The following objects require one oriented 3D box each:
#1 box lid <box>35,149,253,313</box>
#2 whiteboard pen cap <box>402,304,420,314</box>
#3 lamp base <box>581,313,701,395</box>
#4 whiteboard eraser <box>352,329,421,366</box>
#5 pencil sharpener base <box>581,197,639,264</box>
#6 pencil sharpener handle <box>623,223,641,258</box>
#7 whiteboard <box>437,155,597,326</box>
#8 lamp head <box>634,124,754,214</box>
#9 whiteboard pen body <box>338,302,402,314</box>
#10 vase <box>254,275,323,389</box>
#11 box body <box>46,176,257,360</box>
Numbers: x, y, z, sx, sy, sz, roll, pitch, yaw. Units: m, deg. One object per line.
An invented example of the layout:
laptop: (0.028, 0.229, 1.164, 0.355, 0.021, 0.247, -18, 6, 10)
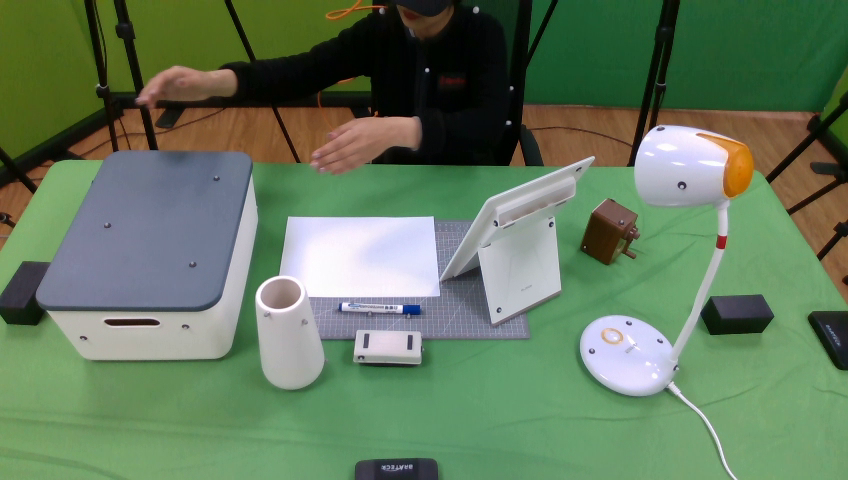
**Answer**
box lid: (-0.437, -0.032, 0.994, 0.263, 0.015, 0.369, 0, 46, -5)
whiteboard pen cap: (-0.024, 0.123, 1.076, 0.033, 0.018, 0.018, 1, 46, 1)
lamp base: (0.361, 0.144, 0.973, 0.178, 0.181, 0.160, 34, 53, 23)
whiteboard eraser: (-0.061, 0.179, 1.005, 0.113, 0.042, 0.055, 3, 48, -3)
pencil sharpener base: (0.362, -0.016, 1.178, 0.076, 0.107, 0.061, 35, 53, 26)
pencil sharpener handle: (0.399, 0.002, 1.146, 0.030, 0.068, 0.036, 35, 45, 26)
whiteboard: (0.180, 0.023, 1.029, 0.217, 0.306, 0.143, -21, 71, -23)
lamp head: (0.351, -0.089, 0.776, 0.112, 0.113, 0.122, -30, 30, -28)
whiteboard pen body: (-0.083, 0.121, 1.074, 0.141, 0.017, 0.017, 3, 46, -2)
vase: (-0.209, 0.142, 0.921, 0.098, 0.201, 0.097, 1, 46, -1)
box body: (-0.441, 0.022, 1.046, 0.254, 0.161, 0.361, 0, 46, -5)
